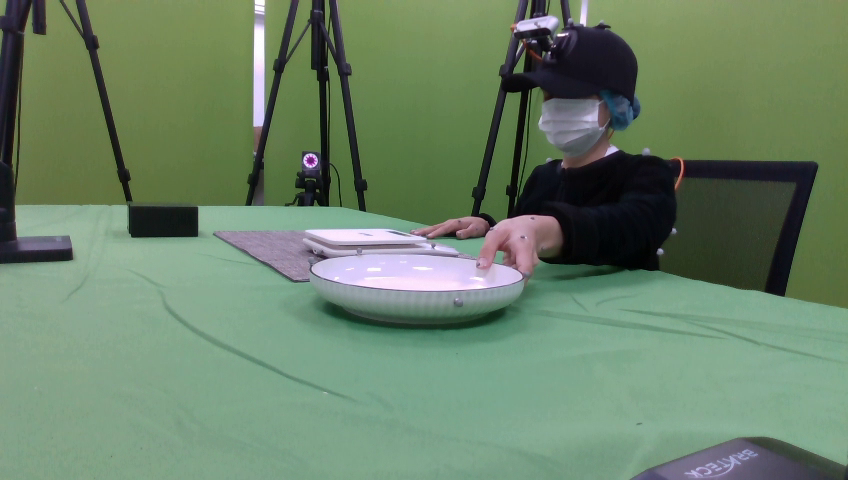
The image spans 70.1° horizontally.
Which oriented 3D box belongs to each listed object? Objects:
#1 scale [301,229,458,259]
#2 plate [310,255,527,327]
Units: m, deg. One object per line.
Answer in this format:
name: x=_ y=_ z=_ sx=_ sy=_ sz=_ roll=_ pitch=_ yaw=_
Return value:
scale: x=-0.065 y=0.007 z=0.878 sx=0.202 sy=0.031 sz=0.148 roll=0 pitch=8 yaw=-29
plate: x=-0.006 y=0.047 z=0.588 sx=0.208 sy=0.039 sz=0.207 roll=3 pitch=7 yaw=0
